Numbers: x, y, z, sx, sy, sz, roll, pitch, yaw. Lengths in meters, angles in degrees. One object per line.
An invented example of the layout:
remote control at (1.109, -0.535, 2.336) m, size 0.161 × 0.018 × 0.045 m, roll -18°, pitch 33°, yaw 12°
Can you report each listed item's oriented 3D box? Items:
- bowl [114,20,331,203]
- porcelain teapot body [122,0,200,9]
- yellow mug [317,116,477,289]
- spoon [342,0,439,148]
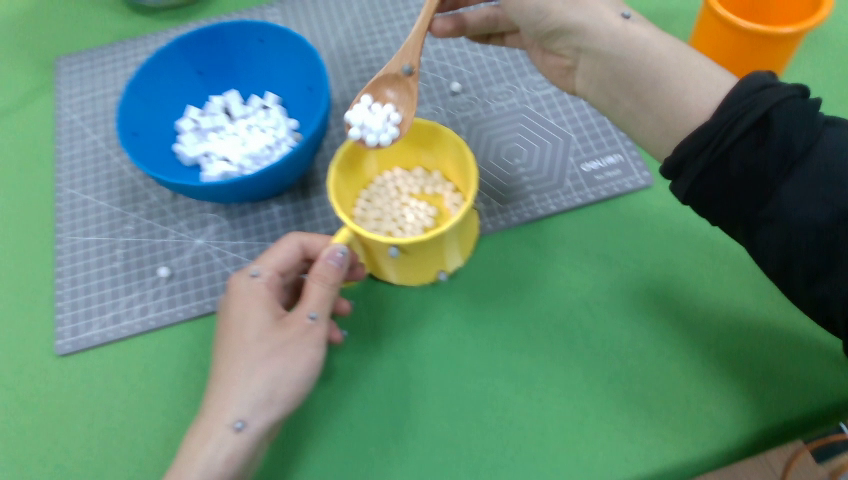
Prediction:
bowl at (-0.138, -0.082, 0.454) m, size 0.151 × 0.077 × 0.150 m, roll -2°, pitch 61°, yaw 3°
porcelain teapot body at (-0.288, -0.319, 0.513) m, size 0.205 × 0.227 × 0.144 m, roll -11°, pitch 62°, yaw 0°
yellow mug at (-0.024, -0.017, 0.417) m, size 0.099 × 0.064 × 0.130 m, roll 37°, pitch 71°, yaw 21°
spoon at (0.004, -0.144, 0.377) m, size 0.041 × 0.022 × 0.193 m, roll 27°, pitch 91°, yaw 12°
